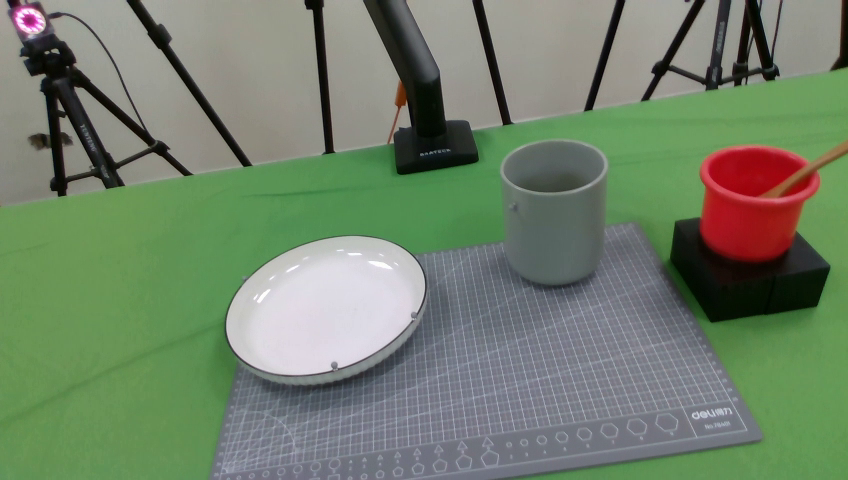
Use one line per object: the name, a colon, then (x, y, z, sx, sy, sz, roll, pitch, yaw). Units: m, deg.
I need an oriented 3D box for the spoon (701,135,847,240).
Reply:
spoon: (0.334, -0.058, 0.533, 0.022, 0.194, 0.041, 32, 37, -21)

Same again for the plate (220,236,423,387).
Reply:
plate: (-0.102, 0.073, 0.629, 0.207, 0.039, 0.205, -6, 38, 5)

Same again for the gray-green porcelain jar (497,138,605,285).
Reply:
gray-green porcelain jar: (0.132, -0.025, 0.630, 0.106, 0.128, 0.105, -6, 38, 5)
